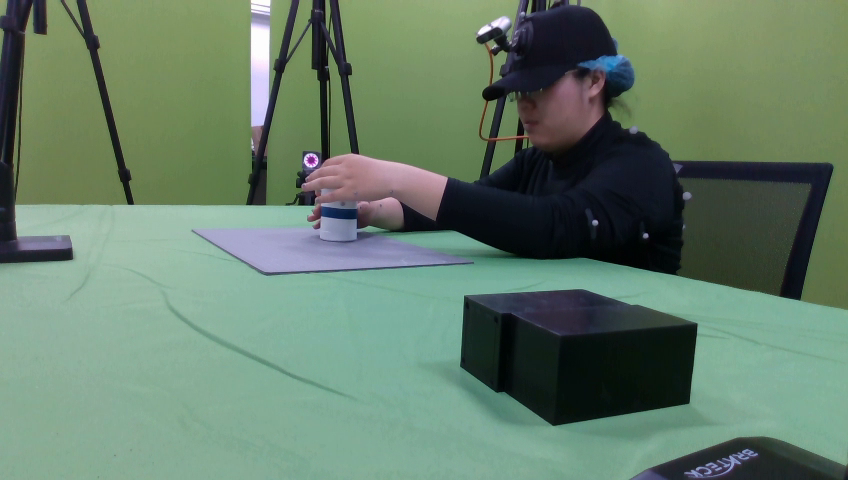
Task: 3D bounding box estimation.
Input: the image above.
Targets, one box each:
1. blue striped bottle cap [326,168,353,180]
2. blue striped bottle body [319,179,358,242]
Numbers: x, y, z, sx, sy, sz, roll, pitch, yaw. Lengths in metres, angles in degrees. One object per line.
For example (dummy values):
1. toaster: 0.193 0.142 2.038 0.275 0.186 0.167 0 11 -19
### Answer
1. blue striped bottle cap: -0.141 -0.110 1.011 0.044 0.020 0.044 2 6 0
2. blue striped bottle body: -0.143 -0.060 1.018 0.063 0.120 0.063 3 7 0
